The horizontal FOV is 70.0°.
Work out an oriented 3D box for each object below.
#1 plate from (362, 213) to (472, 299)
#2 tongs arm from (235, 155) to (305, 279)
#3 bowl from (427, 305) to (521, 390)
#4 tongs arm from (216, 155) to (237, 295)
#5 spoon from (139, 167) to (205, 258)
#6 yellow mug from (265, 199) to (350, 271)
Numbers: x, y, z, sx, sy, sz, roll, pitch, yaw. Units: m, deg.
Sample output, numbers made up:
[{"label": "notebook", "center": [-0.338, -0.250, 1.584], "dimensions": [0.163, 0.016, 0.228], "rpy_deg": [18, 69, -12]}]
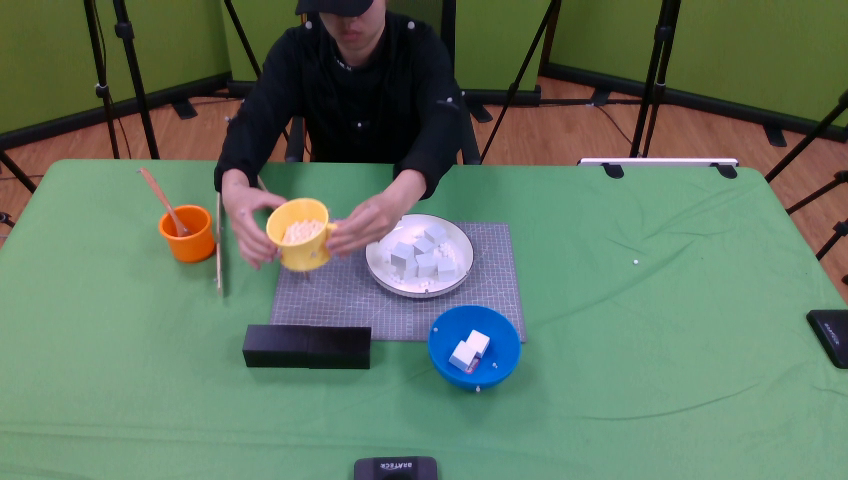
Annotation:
[{"label": "plate", "center": [-0.013, 0.034, 1.150], "dimensions": [0.208, 0.039, 0.206], "rpy_deg": [2, 46, -2]}, {"label": "tongs arm", "center": [-0.313, -0.058, 1.224], "dimensions": [0.028, 0.028, 0.385], "rpy_deg": [-22, 50, -18]}, {"label": "bowl", "center": [0.076, 0.188, 0.985], "dimensions": [0.151, 0.077, 0.150], "rpy_deg": [3, 46, -3]}, {"label": "tongs arm", "center": [-0.388, -0.043, 1.201], "dimensions": [0.051, 0.026, 0.382], "rpy_deg": [-9, 46, -12]}, {"label": "spoon", "center": [-0.467, -0.051, 1.122], "dimensions": [0.041, 0.194, 0.021], "rpy_deg": [-35, 13, -32]}, {"label": "yellow mug", "center": [-0.183, -0.008, 0.975], "dimensions": [0.131, 0.064, 0.099], "rpy_deg": [4, 51, 11]}]
